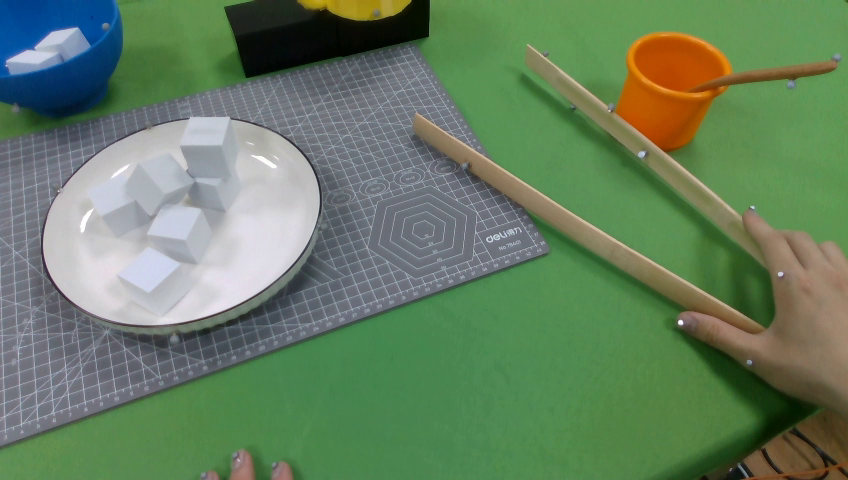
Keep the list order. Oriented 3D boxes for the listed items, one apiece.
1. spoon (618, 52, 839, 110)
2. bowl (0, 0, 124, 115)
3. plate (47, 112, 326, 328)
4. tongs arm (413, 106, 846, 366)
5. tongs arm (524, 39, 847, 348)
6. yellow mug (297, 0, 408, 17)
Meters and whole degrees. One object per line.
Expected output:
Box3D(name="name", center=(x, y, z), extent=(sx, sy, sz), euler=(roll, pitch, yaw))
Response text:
Box3D(name="spoon", center=(0.244, -0.134, 0.512), extent=(0.041, 0.192, 0.022), euler=(-39, 108, -22))
Box3D(name="bowl", center=(-0.349, -0.172, 0.567), extent=(0.151, 0.077, 0.150), euler=(0, 55, 0))
Box3D(name="plate", center=(-0.181, -0.018, 0.483), extent=(0.208, 0.039, 0.205), euler=(1, 55, -1))
Box3D(name="tongs arm", center=(0.141, -0.013, 0.496), extent=(0.385, 0.028, 0.028), euler=(35, 57, 20))
Box3D(name="tongs arm", center=(0.201, -0.057, 0.527), extent=(0.051, 0.027, 0.381), euler=(-31, 62, -23))
Box3D(name="yellow mug", center=(-0.073, -0.269, 0.589), extent=(0.131, 0.064, 0.099), euler=(-33, 61, -21))
